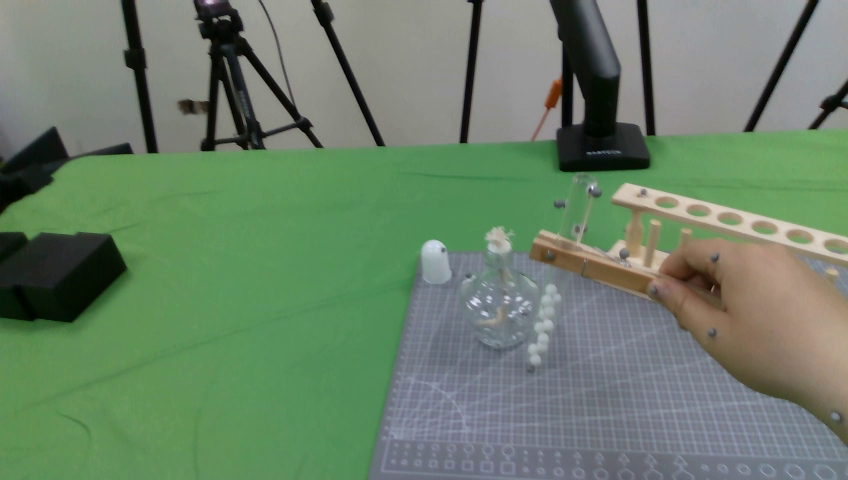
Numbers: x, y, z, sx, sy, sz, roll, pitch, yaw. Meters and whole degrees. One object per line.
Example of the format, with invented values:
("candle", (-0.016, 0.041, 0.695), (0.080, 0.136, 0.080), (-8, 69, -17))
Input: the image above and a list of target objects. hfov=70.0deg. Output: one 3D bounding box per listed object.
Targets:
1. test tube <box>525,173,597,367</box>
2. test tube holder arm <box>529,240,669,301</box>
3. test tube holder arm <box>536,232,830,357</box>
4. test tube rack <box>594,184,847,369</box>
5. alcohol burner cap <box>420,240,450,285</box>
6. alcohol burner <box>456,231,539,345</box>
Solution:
("test tube", (0.090, 0.026, 0.407), (0.017, 0.151, 0.017), (6, 29, -3))
("test tube holder arm", (0.111, 0.019, 0.387), (0.087, 0.015, 0.010), (17, 36, 15))
("test tube holder arm", (0.153, 0.031, 0.378), (0.177, 0.015, 0.013), (21, 37, 20))
("test tube rack", (0.285, 0.026, 0.565), (0.240, 0.086, 0.066), (20, 44, 33))
("alcohol burner cap", (0.011, 0.021, 0.657), (0.034, 0.048, 0.033), (-3, 36, 3))
("alcohol burner", (0.068, 0.040, 0.558), (0.078, 0.120, 0.077), (-3, 37, 3))
